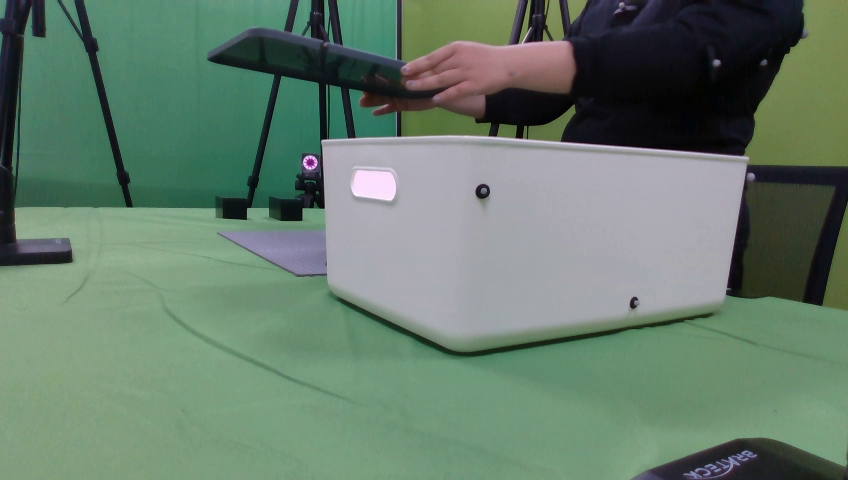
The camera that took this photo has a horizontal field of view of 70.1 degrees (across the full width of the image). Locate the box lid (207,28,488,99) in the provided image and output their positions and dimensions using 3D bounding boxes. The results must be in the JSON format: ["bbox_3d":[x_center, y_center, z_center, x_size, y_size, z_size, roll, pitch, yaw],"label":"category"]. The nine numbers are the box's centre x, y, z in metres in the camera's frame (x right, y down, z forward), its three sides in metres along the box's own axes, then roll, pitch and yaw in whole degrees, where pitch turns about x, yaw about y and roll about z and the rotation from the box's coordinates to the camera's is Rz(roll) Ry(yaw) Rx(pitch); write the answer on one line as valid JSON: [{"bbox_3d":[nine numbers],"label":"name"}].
[{"bbox_3d":[-0.116,-0.254,0.913,0.374,0.015,0.262,2,6,-33],"label":"box lid"}]

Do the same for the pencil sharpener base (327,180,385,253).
[{"bbox_3d":[-0.103,-0.037,0.932,0.077,0.107,0.061,-1,7,-30],"label":"pencil sharpener base"}]

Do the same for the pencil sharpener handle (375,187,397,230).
[{"bbox_3d":[-0.058,-0.050,0.956,0.031,0.067,0.036,-1,7,-29],"label":"pencil sharpener handle"}]

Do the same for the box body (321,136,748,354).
[{"bbox_3d":[0.105,-0.011,0.603,0.366,0.160,0.253,-2,8,-33],"label":"box body"}]
